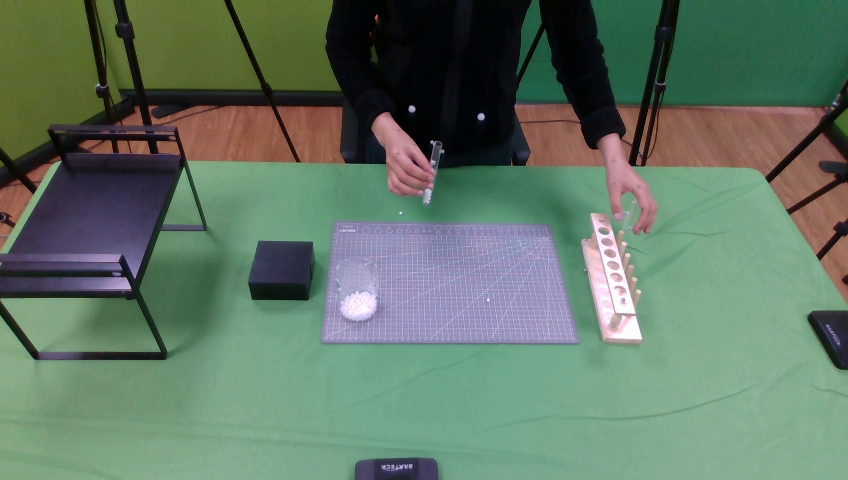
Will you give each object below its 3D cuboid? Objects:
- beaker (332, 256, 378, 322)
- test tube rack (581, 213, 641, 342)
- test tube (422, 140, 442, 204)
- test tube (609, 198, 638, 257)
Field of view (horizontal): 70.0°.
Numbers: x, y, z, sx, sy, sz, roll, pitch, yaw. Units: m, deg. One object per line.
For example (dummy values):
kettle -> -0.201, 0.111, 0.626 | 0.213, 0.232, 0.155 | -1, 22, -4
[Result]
beaker -> -0.114, 0.089, 1.047 | 0.083, 0.101, 0.074 | 30, 51, 21
test tube rack -> 0.351, 0.064, 1.121 | 0.067, 0.085, 0.241 | 3, 46, -1
test tube -> 0.013, -0.120, 1.102 | 0.017, 0.151, 0.017 | 5, 49, -6
test tube -> 0.375, -0.020, 1.141 | 0.017, 0.151, 0.017 | 2, 45, -2
